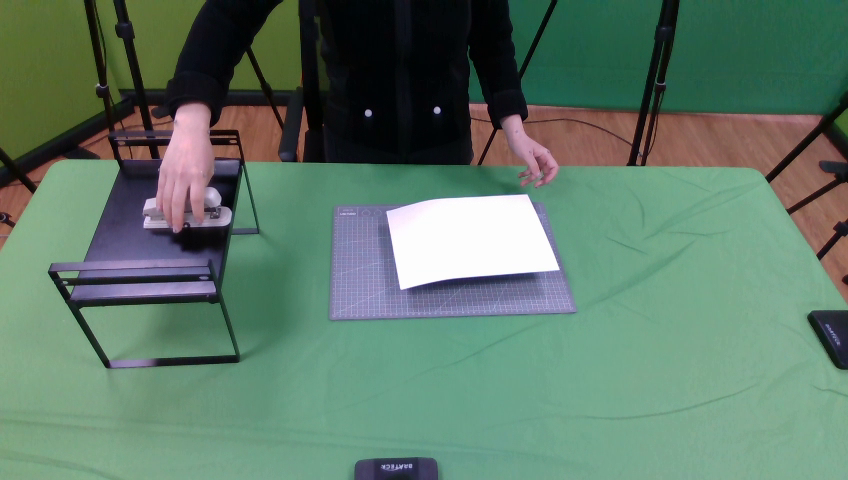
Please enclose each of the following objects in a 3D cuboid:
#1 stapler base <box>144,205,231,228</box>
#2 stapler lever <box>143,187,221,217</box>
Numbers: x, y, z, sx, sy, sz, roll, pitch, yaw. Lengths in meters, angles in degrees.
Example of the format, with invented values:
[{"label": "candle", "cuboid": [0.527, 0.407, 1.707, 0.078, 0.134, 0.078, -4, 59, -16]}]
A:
[{"label": "stapler base", "cuboid": [-0.376, -0.042, 0.960, 0.131, 0.024, 0.041, -3, 44, -5]}, {"label": "stapler lever", "cuboid": [-0.376, -0.059, 0.941, 0.118, 0.040, 0.026, -3, 44, -5]}]
